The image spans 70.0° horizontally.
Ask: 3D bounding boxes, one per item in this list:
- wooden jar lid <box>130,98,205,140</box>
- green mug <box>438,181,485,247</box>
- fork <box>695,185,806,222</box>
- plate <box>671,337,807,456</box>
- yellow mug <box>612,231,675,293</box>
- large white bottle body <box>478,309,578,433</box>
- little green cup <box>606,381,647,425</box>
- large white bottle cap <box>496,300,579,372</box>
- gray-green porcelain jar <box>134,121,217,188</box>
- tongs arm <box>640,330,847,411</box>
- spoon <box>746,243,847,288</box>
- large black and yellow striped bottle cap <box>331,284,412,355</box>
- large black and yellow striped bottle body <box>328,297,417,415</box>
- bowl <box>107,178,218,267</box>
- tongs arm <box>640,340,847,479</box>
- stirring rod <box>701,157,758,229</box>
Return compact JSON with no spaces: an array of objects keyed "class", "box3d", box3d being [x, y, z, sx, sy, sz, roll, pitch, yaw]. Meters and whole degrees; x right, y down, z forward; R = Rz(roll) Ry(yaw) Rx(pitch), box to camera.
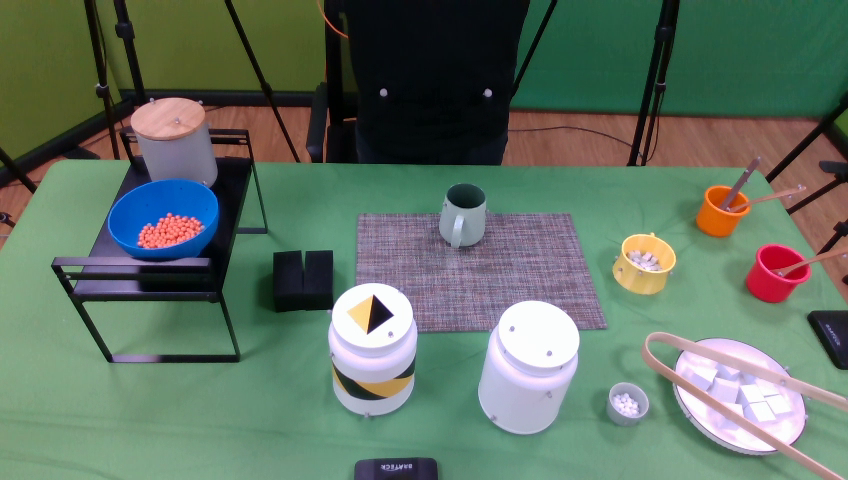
[{"class":"wooden jar lid","box3d":[-0.393,-0.183,0.934,0.108,0.021,0.107,2,44,-2]},{"class":"green mug","box3d":[0.071,-0.039,1.178,0.092,0.105,0.124,12,47,7]},{"class":"fork","box3d":[0.658,-0.074,1.230,0.207,0.019,0.028,-23,35,37]},{"class":"plate","box3d":[0.503,0.254,0.984,0.208,0.039,0.206,2,46,-2]},{"class":"yellow mug","box3d":[0.424,0.033,1.168,0.100,0.064,0.130,18,46,13]},{"class":"large white bottle body","box3d":[0.156,0.192,0.913,0.131,0.185,0.130,2,46,-2]},{"class":"little green cup","box3d":[0.319,0.261,0.962,0.061,0.039,0.061,2,45,-2]},{"class":"large white bottle cap","box3d":[0.160,0.133,0.852,0.115,0.018,0.114,3,46,-3]},{"class":"gray-green porcelain jar","box3d":[-0.397,-0.141,0.980,0.106,0.127,0.105,2,47,-2]},{"class":"tongs arm","box3d":[0.543,0.226,0.969,0.384,0.026,0.050,22,52,13]},{"class":"spoon","box3d":[0.702,0.044,1.126,0.194,0.022,0.041,-29,38,30]},{"class":"large black and yellow striped bottle cap","box3d":[-0.073,0.110,0.858,0.115,0.019,0.114,2,46,-2]},{"class":"large black and yellow striped bottle body","box3d":[-0.078,0.167,0.920,0.131,0.185,0.130,2,46,-2]},{"class":"bowl","box3d":[-0.374,-0.014,0.893,0.151,0.077,0.150,2,46,-2]},{"class":"tongs arm","box3d":[0.500,0.277,0.919,0.386,0.028,0.028,34,59,22]},{"class":"stirring rod","box3d":[0.634,-0.097,1.258,0.014,0.006,0.176,38,98,31]}]
